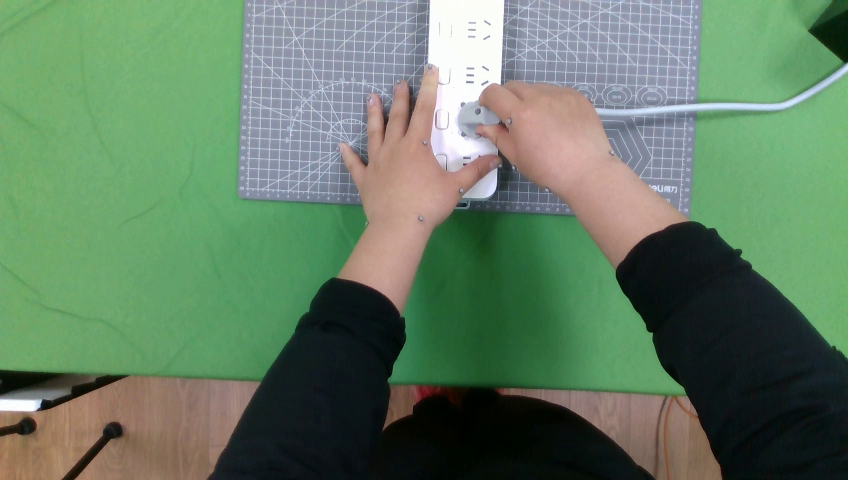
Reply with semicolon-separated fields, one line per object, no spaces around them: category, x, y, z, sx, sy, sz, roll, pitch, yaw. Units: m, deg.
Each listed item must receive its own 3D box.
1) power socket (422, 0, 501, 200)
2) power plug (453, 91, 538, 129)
power socket;0.036;-0.152;0.584;0.072;0.032;0.226;2;92;-1
power plug;0.063;-0.116;0.566;0.072;0.052;0.035;17;90;-2
